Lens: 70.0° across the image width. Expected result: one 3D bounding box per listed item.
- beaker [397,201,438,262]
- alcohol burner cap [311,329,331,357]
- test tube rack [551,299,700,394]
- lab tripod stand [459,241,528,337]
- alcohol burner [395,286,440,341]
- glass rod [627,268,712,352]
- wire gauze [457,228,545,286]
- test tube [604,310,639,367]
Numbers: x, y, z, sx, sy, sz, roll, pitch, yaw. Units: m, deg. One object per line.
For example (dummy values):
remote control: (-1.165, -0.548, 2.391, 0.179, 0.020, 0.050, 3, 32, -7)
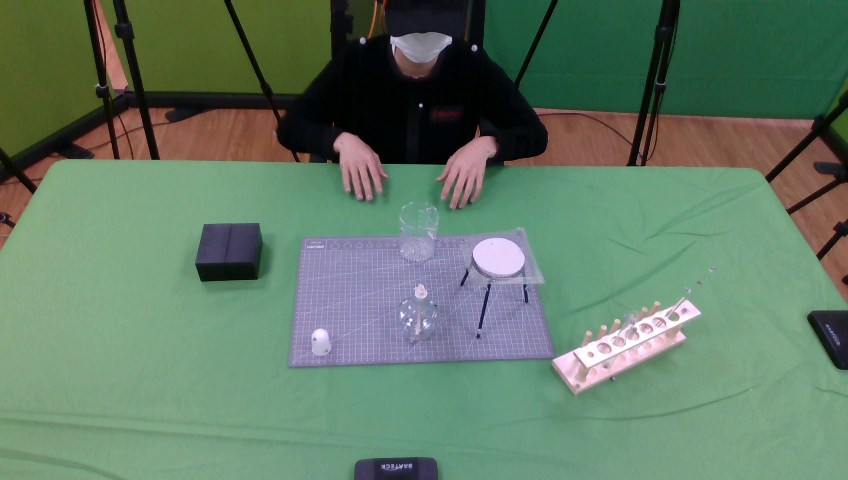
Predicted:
beaker: (-0.012, -0.011, 1.152, 0.083, 0.101, 0.074, 35, 53, 25)
alcohol burner cap: (-0.173, 0.168, 1.005, 0.034, 0.048, 0.033, 2, 46, -2)
test tube rack: (0.339, 0.166, 1.021, 0.242, 0.085, 0.066, -19, 50, -21)
lab tripod stand: (0.122, 0.075, 1.054, 0.148, 0.132, 0.147, 3, 44, -3)
alcohol burner: (-0.010, 0.116, 1.018, 0.078, 0.119, 0.077, 3, 47, -3)
glass rod: (0.399, 0.117, 0.995, 0.008, 0.200, 0.008, 26, 29, -15)
wire gauze: (0.126, 0.028, 1.006, 0.125, 0.011, 0.120, -4, 46, -9)
test tube: (0.310, 0.158, 0.957, 0.017, 0.151, 0.017, 1, 49, -1)
